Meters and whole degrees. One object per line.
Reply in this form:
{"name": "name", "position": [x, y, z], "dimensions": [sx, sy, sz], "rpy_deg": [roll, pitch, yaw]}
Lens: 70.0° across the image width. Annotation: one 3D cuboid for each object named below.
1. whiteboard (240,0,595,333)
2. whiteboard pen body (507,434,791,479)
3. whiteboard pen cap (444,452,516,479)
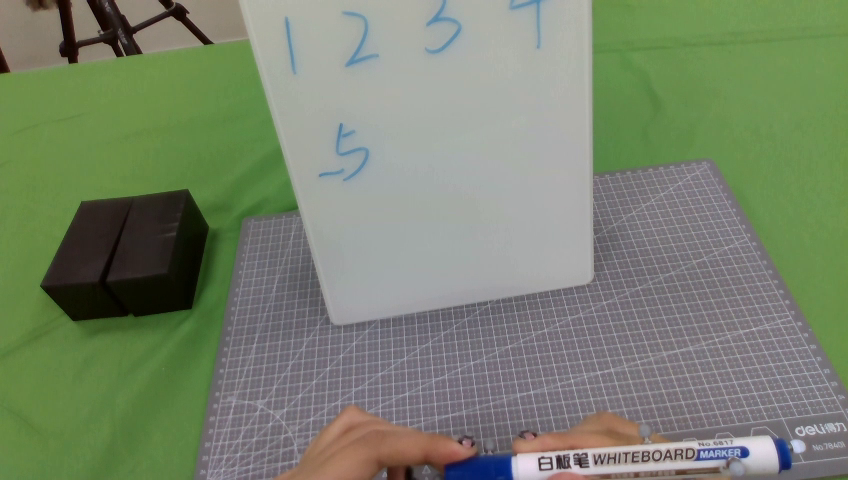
{"name": "whiteboard", "position": [0.005, -0.108, 0.472], "dimensions": [0.217, 0.308, 0.142], "rpy_deg": [-9, 29, 1]}
{"name": "whiteboard pen body", "position": [0.085, 0.099, 0.269], "dimensions": [0.140, 0.017, 0.017], "rpy_deg": [-8, 47, 11]}
{"name": "whiteboard pen cap", "position": [0.026, 0.107, 0.280], "dimensions": [0.033, 0.018, 0.018], "rpy_deg": [-4, 48, 7]}
